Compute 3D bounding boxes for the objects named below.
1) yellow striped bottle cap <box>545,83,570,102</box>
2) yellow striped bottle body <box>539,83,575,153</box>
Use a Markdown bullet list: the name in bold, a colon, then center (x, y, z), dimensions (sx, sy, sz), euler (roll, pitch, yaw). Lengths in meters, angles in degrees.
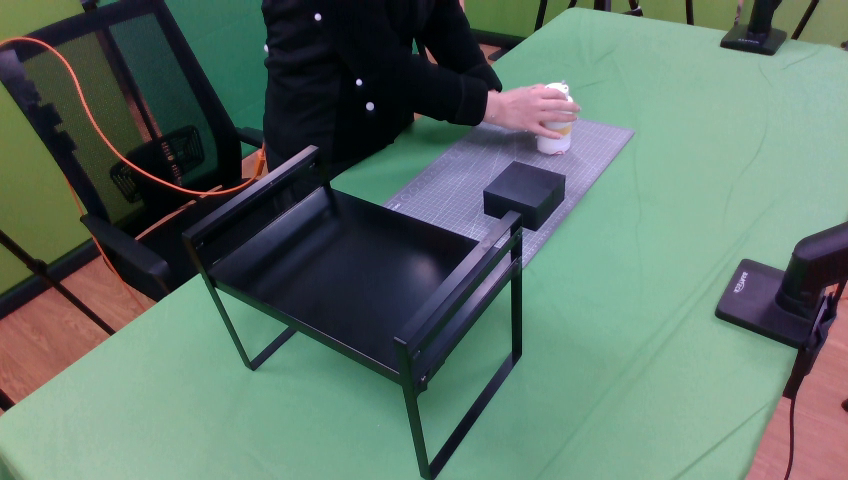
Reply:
- **yellow striped bottle cap**: center (0.240, -0.266, 1.089), dimensions (0.044, 0.019, 0.044), euler (-4, 37, 3)
- **yellow striped bottle body**: center (0.246, -0.229, 1.124), dimensions (0.063, 0.121, 0.062), euler (-4, 42, 4)
